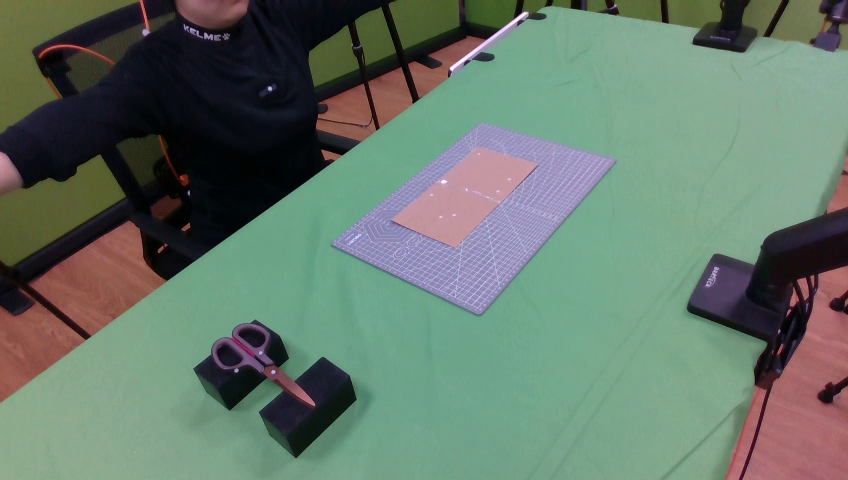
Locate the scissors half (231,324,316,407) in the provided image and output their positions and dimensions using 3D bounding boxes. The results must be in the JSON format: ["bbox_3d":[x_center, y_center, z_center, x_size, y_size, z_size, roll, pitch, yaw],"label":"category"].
[{"bbox_3d":[-0.185,0.153,0.748,0.040,0.013,0.173,-32,48,-28],"label":"scissors half"}]

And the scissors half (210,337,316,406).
[{"bbox_3d":[-0.198,0.162,0.736,0.174,0.013,0.040,20,41,25],"label":"scissors half"}]

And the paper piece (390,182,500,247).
[{"bbox_3d":[0.037,-0.048,1.027,0.134,0.004,0.136,24,48,30],"label":"paper piece"}]

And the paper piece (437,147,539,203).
[{"bbox_3d":[0.117,-0.122,1.104,0.135,0.009,0.138,26,49,29],"label":"paper piece"}]
